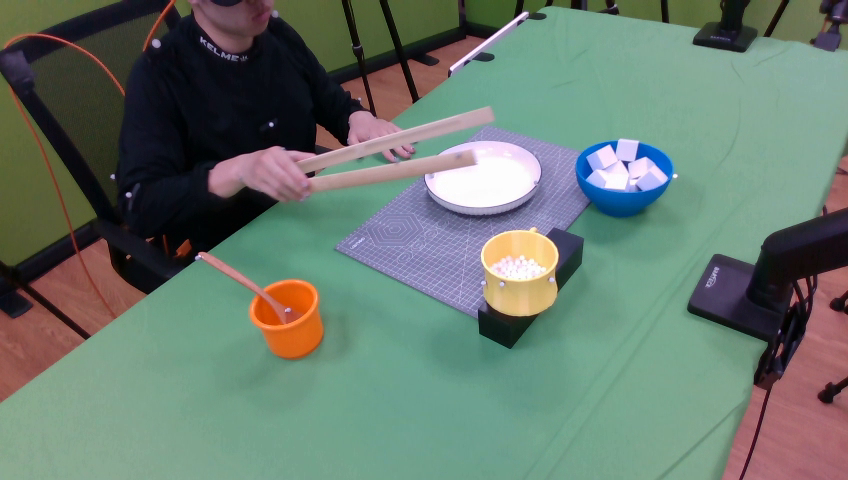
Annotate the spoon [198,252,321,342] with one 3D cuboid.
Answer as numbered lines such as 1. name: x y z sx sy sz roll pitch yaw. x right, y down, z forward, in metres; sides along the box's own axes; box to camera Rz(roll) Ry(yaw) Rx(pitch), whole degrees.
1. spoon: -0.220 0.075 0.814 0.021 0.194 0.041 -36 19 39

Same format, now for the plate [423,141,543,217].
1. plate: 0.103 -0.103 1.059 0.207 0.039 0.206 -4 40 4

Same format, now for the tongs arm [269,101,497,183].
1. tongs arm: -0.072 -0.151 0.956 0.386 0.028 0.028 -14 39 18

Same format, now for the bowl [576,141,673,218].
1. bowl: 0.321 -0.089 0.984 0.151 0.077 0.150 -4 40 4

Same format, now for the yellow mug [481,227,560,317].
1. yellow mug: 0.131 0.032 0.801 0.099 0.064 0.131 11 43 20

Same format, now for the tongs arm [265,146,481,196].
1. tongs arm: -0.090 -0.105 0.902 0.382 0.027 0.050 -8 38 27
